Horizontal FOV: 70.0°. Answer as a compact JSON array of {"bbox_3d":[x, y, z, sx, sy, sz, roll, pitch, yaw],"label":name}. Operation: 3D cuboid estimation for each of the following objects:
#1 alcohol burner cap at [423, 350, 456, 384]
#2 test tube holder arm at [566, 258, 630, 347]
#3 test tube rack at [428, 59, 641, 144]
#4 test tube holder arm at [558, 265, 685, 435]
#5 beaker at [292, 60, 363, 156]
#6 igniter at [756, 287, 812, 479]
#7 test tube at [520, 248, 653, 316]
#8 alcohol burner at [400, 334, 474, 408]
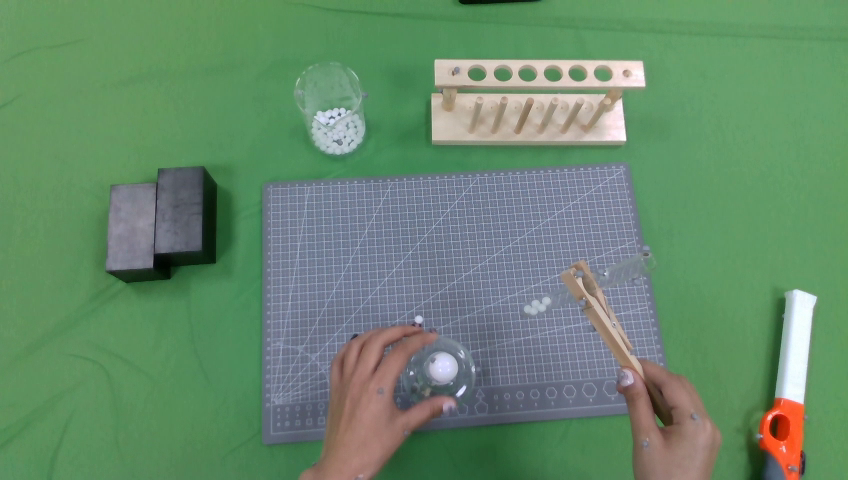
[{"bbox_3d":[0.016,0.122,0.584,0.034,0.048,0.033,1,77,-3],"label":"alcohol burner cap"},{"bbox_3d":[0.148,0.055,0.514,0.010,0.015,0.088,-31,93,-37],"label":"test tube holder arm"},{"bbox_3d":[0.128,-0.165,0.732,0.242,0.085,0.066,0,73,-3],"label":"test tube rack"},{"bbox_3d":[0.169,0.096,0.515,0.013,0.015,0.179,-40,98,-36],"label":"test tube holder arm"},{"bbox_3d":[-0.109,-0.147,0.707,0.074,0.101,0.083,-1,73,-3],"label":"beaker"},{"bbox_3d":[0.397,0.185,0.669,0.057,0.025,0.275,19,73,-7],"label":"igniter"},{"bbox_3d":[0.131,0.039,0.514,0.017,0.150,0.017,13,63,-27],"label":"test tube"},{"bbox_3d":[0.015,0.132,0.619,0.078,0.119,0.077,1,71,-4],"label":"alcohol burner"}]
